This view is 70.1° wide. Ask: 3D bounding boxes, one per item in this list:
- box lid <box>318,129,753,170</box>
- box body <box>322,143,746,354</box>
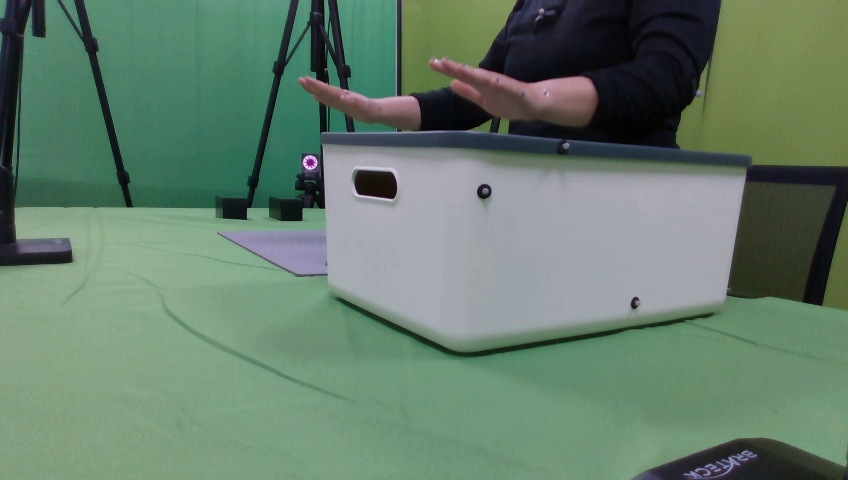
[{"bbox_3d":[0.107,-0.085,0.593,0.373,0.015,0.262,-1,8,-34],"label":"box lid"},{"bbox_3d":[0.105,-0.011,0.603,0.366,0.160,0.253,-2,8,-34],"label":"box body"}]
